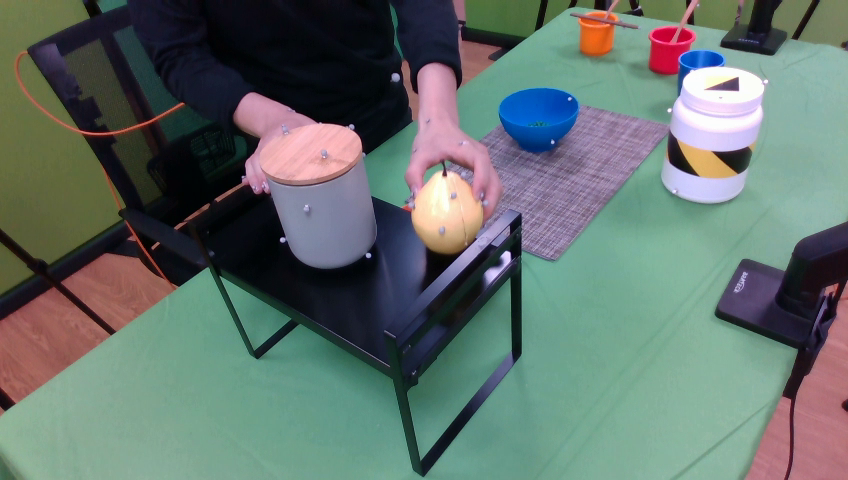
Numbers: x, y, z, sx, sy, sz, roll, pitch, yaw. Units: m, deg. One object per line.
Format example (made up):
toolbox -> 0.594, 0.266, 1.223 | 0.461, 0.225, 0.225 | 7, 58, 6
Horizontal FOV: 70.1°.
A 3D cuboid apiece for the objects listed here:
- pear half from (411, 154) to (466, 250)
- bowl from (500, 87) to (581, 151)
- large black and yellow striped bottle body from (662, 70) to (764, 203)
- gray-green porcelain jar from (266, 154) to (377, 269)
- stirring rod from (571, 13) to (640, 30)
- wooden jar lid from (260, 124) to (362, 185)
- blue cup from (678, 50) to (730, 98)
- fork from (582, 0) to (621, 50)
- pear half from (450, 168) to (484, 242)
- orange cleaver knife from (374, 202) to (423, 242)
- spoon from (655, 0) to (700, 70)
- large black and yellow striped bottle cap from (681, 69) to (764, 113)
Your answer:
pear half -> 0.013, -0.042, 0.651 | 0.056, 0.110, 0.076 | -13, 34, -9
bowl -> 0.221, -0.223, 1.156 | 0.151, 0.077, 0.150 | -4, 40, 4
large black and yellow striped bottle body -> 0.464, -0.166, 0.976 | 0.131, 0.185, 0.130 | -5, 41, 5
gray-green porcelain jar -> -0.112, -0.039, 0.685 | 0.106, 0.127, 0.105 | -4, 40, 4
stirring rod -> 0.418, -0.508, 1.404 | 0.174, 0.006, 0.014 | 28, 54, 35
wooden jar lid -> -0.119, -0.088, 0.644 | 0.108, 0.021, 0.108 | -4, 40, 3
blue cup -> 0.542, -0.310, 1.194 | 0.092, 0.101, 0.092 | -6, 41, 6
fork -> 0.446, -0.539, 1.438 | 0.207, 0.019, 0.028 | -57, 35, 12
pear half -> 0.048, -0.041, 0.660 | 0.031, 0.088, 0.070 | -15, 34, -9
orange cleaver knife -> -0.038, -0.029, 0.973 | 0.210, 0.077, 0.012 | -8, 31, 50
spoon -> 0.568, -0.463, 1.337 | 0.041, 0.022, 0.193 | 30, 97, 37
large black and yellow striped bottle cap -> 0.453, -0.229, 0.921 | 0.115, 0.019, 0.114 | -4, 39, 4
